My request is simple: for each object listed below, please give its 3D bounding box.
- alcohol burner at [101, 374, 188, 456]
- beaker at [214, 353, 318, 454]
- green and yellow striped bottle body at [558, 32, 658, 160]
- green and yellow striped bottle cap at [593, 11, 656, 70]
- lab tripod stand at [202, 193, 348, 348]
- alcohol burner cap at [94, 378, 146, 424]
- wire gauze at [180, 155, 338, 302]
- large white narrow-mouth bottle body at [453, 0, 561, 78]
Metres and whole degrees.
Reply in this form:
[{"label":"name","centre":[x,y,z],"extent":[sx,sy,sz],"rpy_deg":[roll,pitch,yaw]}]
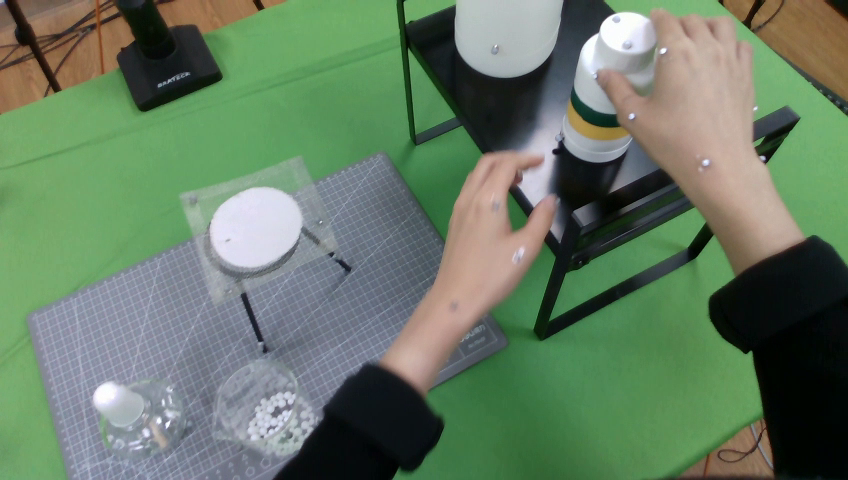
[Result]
[{"label":"alcohol burner","centre":[-0.271,0.159,0.570],"extent":[0.078,0.120,0.077],"rpy_deg":[0,60,1]},{"label":"beaker","centre":[-0.146,0.161,0.572],"extent":[0.084,0.101,0.073],"rpy_deg":[-38,66,-16]},{"label":"green and yellow striped bottle body","centre":[0.151,-0.125,0.500],"extent":[0.063,0.120,0.062],"rpy_deg":[-1,62,2]},{"label":"green and yellow striped bottle cap","centre":[0.150,-0.150,0.454],"extent":[0.045,0.020,0.045],"rpy_deg":[-2,63,4]},{"label":"lab tripod stand","centre":[-0.158,0.021,0.627],"extent":[0.148,0.132,0.147],"rpy_deg":[-1,60,1]},{"label":"alcohol burner cap","centre":[-0.273,0.141,0.539],"extent":[0.034,0.048,0.033],"rpy_deg":[-1,55,2]},{"label":"wire gauze","centre":[-0.156,-0.017,0.571],"extent":[0.121,0.011,0.124],"rpy_deg":[-22,64,-11]},{"label":"large white narrow-mouth bottle body","centre":[0.075,-0.242,0.523],"extent":[0.102,0.196,0.101],"rpy_deg":[-1,60,2]}]
